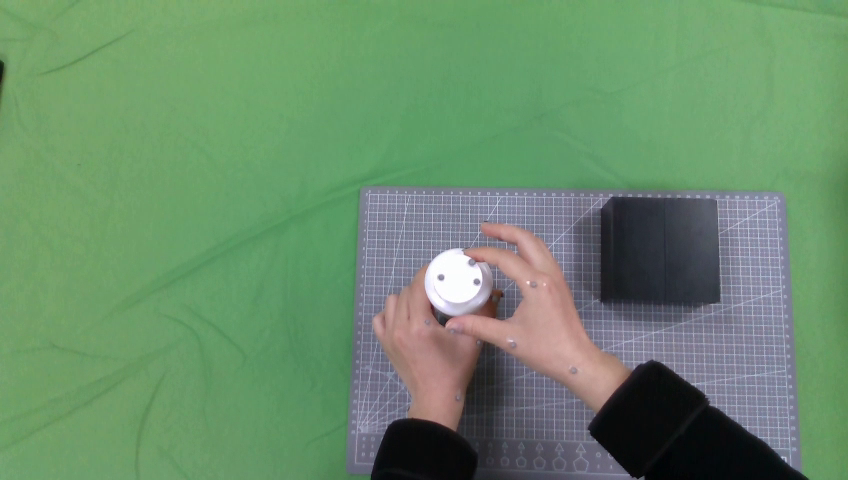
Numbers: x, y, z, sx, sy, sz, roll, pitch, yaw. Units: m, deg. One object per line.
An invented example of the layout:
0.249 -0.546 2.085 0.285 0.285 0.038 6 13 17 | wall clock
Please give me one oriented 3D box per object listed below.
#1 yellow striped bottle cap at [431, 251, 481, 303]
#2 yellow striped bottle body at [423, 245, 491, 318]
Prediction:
0.028 0.032 0.528 0.044 0.019 0.044 0 79 2 | yellow striped bottle cap
0.032 0.041 0.580 0.063 0.120 0.062 0 80 3 | yellow striped bottle body
